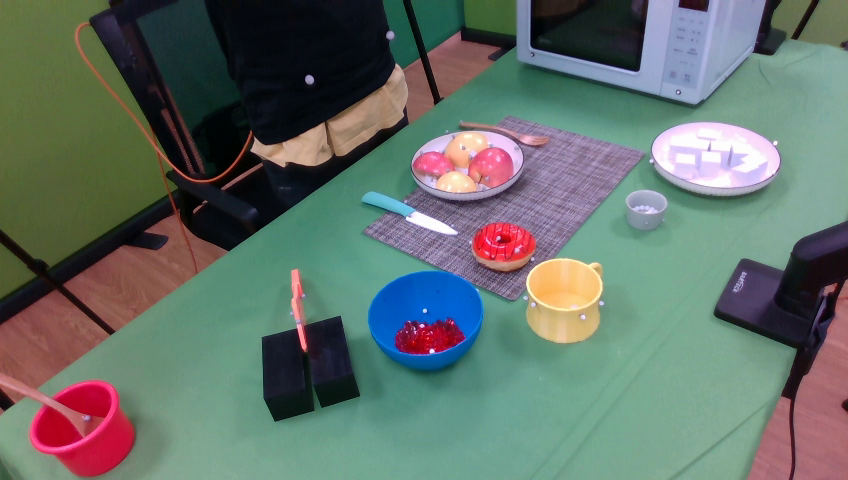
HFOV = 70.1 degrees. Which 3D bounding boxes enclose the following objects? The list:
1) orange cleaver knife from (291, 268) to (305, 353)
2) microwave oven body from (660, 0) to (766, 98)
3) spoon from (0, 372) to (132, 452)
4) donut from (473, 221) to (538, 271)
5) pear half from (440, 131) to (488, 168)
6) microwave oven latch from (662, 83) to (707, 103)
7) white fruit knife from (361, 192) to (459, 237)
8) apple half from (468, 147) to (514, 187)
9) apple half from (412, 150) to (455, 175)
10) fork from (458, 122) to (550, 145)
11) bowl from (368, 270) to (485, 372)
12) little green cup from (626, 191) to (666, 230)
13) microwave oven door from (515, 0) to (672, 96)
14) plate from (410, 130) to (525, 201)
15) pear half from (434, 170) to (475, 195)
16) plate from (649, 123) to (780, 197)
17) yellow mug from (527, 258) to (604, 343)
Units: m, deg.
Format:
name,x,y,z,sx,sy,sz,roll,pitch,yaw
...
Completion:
name,x,y,z,sx,sy,sz,roll,pitch,yaw
orange cleaver knife,-0.175,0.093,0.844,0.012,0.077,0.210,-11,15,-10
microwave oven body,0.472,-0.513,1.317,0.438,0.261,0.327,26,51,34
spoon,-0.439,0.195,0.715,0.195,0.021,0.041,37,42,-16
donut,0.123,0.008,0.923,0.099,0.048,0.098,-3,38,3
pear half,0.064,-0.174,1.129,0.110,0.056,0.076,-7,36,5
microwave oven latch,0.517,-0.296,1.204,0.078,0.029,0.030,27,52,35
white fruit knife,-0.025,-0.044,1.033,0.206,0.016,0.027,24,80,30
apple half,0.119,-0.137,1.073,0.080,0.053,0.075,25,49,38
apple half,0.022,-0.144,1.097,0.081,0.033,0.081,7,23,-3
fork,0.154,-0.215,1.204,0.206,0.019,0.028,20,57,29
bowl,0.007,0.118,0.791,0.151,0.077,0.150,-5,40,4
little green cup,0.352,-0.046,0.963,0.061,0.039,0.061,-4,40,4
microwave oven door,0.343,-0.454,1.259,0.353,0.245,0.039,26,51,33
plate,0.079,-0.133,1.101,0.209,0.038,0.208,-4,40,4
pear half,0.052,-0.105,1.051,0.071,0.031,0.087,-5,32,-28
plate,0.497,-0.135,1.046,0.207,0.039,0.206,-4,40,4
yellow mug,0.201,0.073,0.825,0.131,0.064,0.099,-32,46,-27
